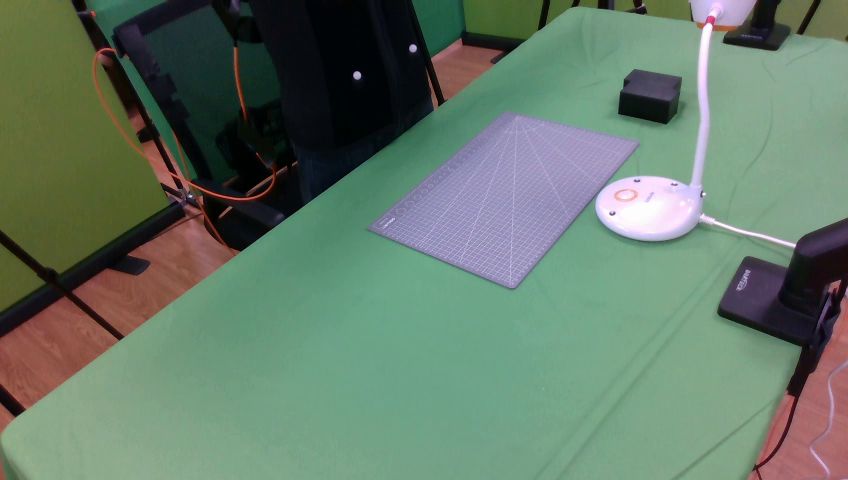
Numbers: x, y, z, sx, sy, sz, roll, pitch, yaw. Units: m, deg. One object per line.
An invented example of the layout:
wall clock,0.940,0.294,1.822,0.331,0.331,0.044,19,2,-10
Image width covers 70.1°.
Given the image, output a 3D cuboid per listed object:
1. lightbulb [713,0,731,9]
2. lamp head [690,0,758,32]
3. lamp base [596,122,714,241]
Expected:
lightbulb,0.432,-0.387,0.864,0.059,0.108,0.059,-5,31,4
lamp head,0.434,-0.363,0.870,0.112,0.123,0.112,1,28,0
lamp base,0.363,-0.110,0.921,0.178,0.181,0.160,13,45,21
